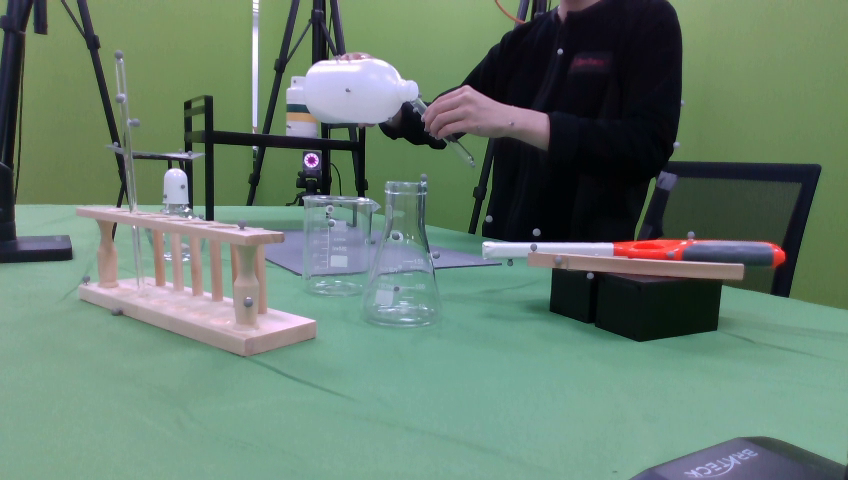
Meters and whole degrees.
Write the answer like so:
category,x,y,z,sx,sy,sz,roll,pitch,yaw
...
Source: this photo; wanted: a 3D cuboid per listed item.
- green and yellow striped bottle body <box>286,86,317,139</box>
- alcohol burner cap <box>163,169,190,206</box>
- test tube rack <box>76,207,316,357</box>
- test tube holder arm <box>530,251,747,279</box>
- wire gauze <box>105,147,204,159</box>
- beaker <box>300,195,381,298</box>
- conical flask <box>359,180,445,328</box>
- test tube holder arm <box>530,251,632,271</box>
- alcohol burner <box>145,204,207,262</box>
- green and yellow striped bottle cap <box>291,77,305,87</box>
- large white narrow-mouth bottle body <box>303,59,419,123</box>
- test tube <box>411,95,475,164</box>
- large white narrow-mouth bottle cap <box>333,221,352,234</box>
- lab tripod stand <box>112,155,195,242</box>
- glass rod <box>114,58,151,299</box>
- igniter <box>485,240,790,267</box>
category,x,y,z,sx,sy,sz,roll,pitch,yaw
green and yellow striped bottle body,-0.251,-0.270,1.245,0.063,0.119,0.063,2,7,0
alcohol burner cap,-0.320,-0.067,0.782,0.034,0.048,0.034,1,7,0
test tube rack,-0.196,0.023,0.500,0.241,0.085,0.067,8,9,36
test tube holder arm,0.182,0.022,0.523,0.178,0.015,0.013,3,7,12
wire gauze,-0.407,-0.131,0.928,0.125,0.011,0.121,2,6,-11
beaker,-0.087,0.006,0.626,0.084,0.100,0.074,1,8,-17
conical flask,-0.017,0.010,0.522,0.075,0.122,0.075,2,7,0
test tube holder arm,0.139,0.019,0.538,0.087,0.015,0.010,3,7,13
alcohol burner,-0.321,-0.032,0.788,0.078,0.119,0.078,0,7,0
green and yellow striped bottle cap,-0.250,-0.321,1.238,0.045,0.020,0.045,3,6,0
large white narrow-mouth bottle body,-0.096,-0.242,0.983,0.194,0.101,0.102,8,9,31
test tube,0.028,-0.166,0.905,0.017,0.017,0.149,-7,51,-51
large white narrow-mouth bottle cap,-0.152,-0.024,1.134,0.038,0.024,0.037,4,7,0
lab tripod stand,-0.405,-0.064,0.931,0.148,0.131,0.148,1,6,0
glass rod,-0.236,-0.044,0.492,0.008,0.199,0.008,0,15,0
igniter,0.197,0.012,0.585,0.276,0.025,0.057,1,5,12
